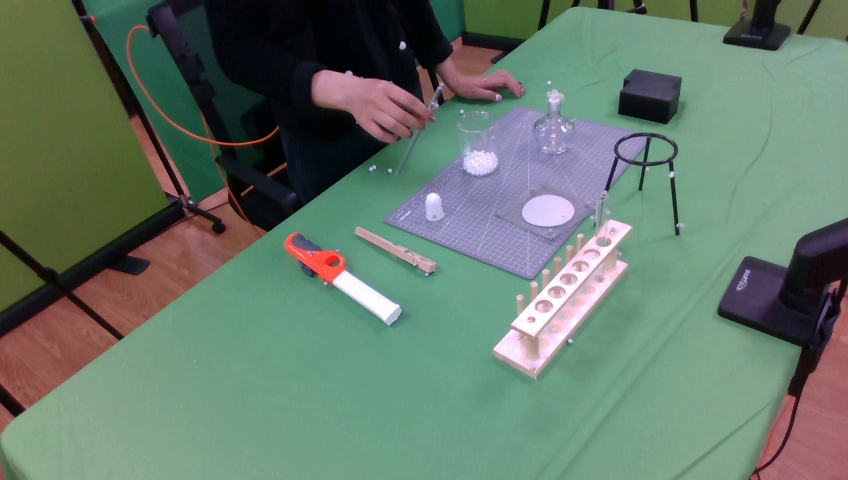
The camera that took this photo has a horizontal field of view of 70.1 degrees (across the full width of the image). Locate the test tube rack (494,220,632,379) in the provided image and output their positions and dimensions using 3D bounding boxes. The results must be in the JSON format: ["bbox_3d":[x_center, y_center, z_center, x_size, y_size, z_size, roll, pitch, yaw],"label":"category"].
[{"bbox_3d":[0.191,0.068,0.818,0.066,0.085,0.243,25,51,35],"label":"test tube rack"}]

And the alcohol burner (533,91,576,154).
[{"bbox_3d":[0.243,-0.222,1.124,0.078,0.119,0.077,-4,39,4],"label":"alcohol burner"}]

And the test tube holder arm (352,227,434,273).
[{"bbox_3d":[-0.053,0.014,0.978,0.177,0.015,0.013,25,15,34],"label":"test tube holder arm"}]

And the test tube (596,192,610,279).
[{"bbox_3d":[0.240,-0.002,0.814,0.017,0.151,0.017,-7,42,7],"label":"test tube"}]

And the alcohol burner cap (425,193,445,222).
[{"bbox_3d":[0.017,-0.058,1.029,0.034,0.048,0.033,-6,40,5],"label":"alcohol burner cap"}]

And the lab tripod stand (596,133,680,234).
[{"bbox_3d":[0.338,-0.091,0.940,0.148,0.132,0.147,-7,39,6],"label":"lab tripod stand"}]

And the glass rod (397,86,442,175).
[{"bbox_3d":[-0.010,-0.162,0.928,0.008,0.199,0.008,12,53,-16],"label":"glass rod"}]

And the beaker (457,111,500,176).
[{"bbox_3d":[0.104,-0.176,1.108,0.073,0.101,0.084,16,45,27],"label":"beaker"}]

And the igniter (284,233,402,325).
[{"bbox_3d":[-0.136,0.054,0.942,0.274,0.025,0.057,30,63,37],"label":"igniter"}]

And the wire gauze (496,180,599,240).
[{"bbox_3d":[0.206,-0.050,1.012,0.125,0.011,0.120,-34,45,-26],"label":"wire gauze"}]

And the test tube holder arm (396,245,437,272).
[{"bbox_3d":[-0.016,0.029,0.957,0.087,0.015,0.010,25,16,35],"label":"test tube holder arm"}]
